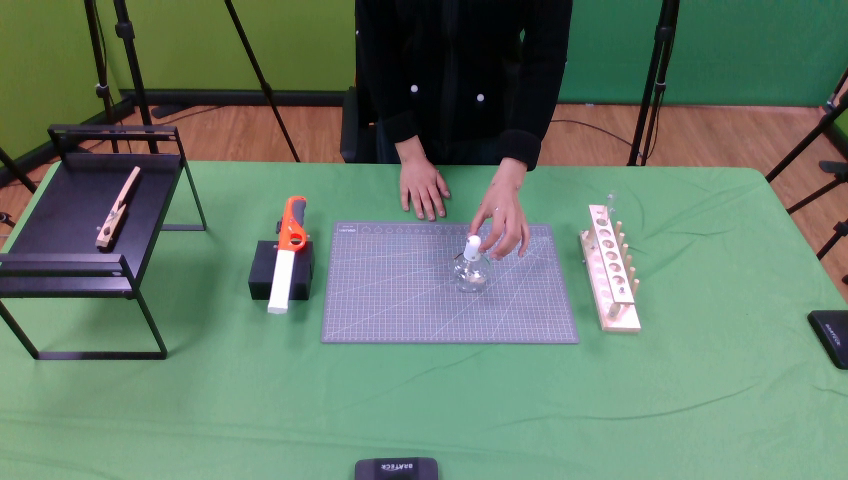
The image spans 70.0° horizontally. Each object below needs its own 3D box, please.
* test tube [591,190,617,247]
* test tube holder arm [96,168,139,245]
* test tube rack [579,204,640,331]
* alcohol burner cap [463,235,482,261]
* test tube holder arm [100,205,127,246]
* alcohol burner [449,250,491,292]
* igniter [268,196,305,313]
[{"bbox_3d":[0.340,-0.038,1.149,0.017,0.151,0.017,1,50,-1],"label":"test tube"},{"bbox_3d":[-0.487,-0.058,0.968,0.013,0.015,0.177,27,37,-27],"label":"test tube holder arm"},{"bbox_3d":[0.353,0.047,1.137,0.067,0.085,0.241,2,46,-2],"label":"test tube rack"},{"bbox_3d":[0.088,0.012,1.074,0.034,0.048,0.033,2,48,-2],"label":"alcohol burner cap"},{"bbox_3d":[-0.480,-0.025,0.938,0.010,0.015,0.087,28,36,-26],"label":"test tube holder arm"},{"bbox_3d":[0.086,0.038,1.101,0.078,0.119,0.077,2,45,-2],"label":"alcohol burner"},{"bbox_3d":[-0.248,0.016,1.095,0.057,0.025,0.274,8,46,-12],"label":"igniter"}]
